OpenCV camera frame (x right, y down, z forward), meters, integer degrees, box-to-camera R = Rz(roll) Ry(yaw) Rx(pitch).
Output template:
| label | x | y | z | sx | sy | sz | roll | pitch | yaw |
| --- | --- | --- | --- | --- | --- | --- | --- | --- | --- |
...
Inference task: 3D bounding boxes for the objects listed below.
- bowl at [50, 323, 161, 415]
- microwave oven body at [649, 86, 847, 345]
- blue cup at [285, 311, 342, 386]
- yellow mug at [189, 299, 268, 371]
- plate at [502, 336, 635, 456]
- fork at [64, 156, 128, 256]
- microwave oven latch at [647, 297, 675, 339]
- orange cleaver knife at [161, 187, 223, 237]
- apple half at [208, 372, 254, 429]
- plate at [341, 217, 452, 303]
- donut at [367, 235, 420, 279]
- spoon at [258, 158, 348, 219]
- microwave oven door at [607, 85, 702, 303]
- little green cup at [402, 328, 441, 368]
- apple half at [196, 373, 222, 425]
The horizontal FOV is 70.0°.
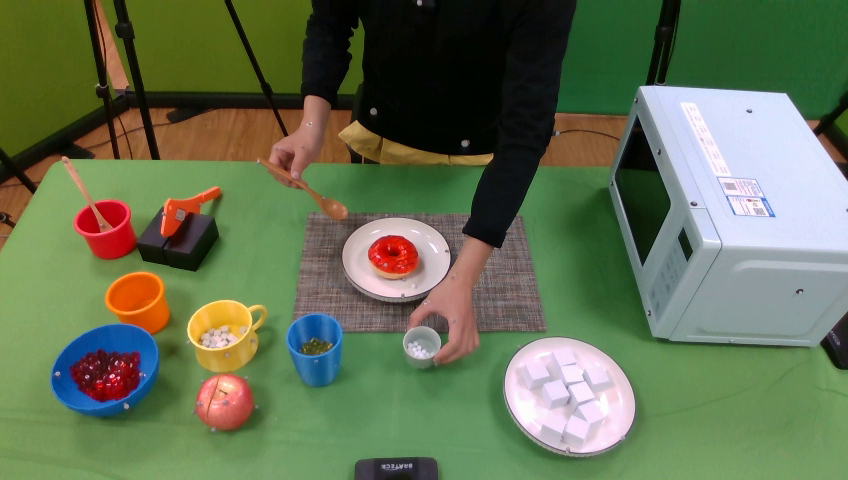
| label | x | y | z | sx | sy | sz | roll | pitch | yaw |
| --- | --- | --- | --- | --- | --- | --- | --- | --- | --- |
| bowl | -0.472 | 0.209 | 0.924 | 0.151 | 0.077 | 0.150 | 2 | 45 | -2 |
| microwave oven body | 0.568 | -0.053 | 1.118 | 0.326 | 0.261 | 0.439 | 2 | 45 | -1 |
| blue cup | -0.170 | 0.180 | 0.958 | 0.093 | 0.101 | 0.092 | 2 | 44 | -1 |
| yellow mug | -0.315 | 0.148 | 1.001 | 0.131 | 0.064 | 0.099 | -33 | 56 | -31 |
| plate | 0.225 | 0.248 | 0.963 | 0.208 | 0.039 | 0.206 | 2 | 46 | -2 |
| fork | -0.614 | -0.064 | 1.130 | 0.028 | 0.018 | 0.207 | -30 | 97 | -17 |
| microwave oven latch | 0.413 | 0.134 | 1.061 | 0.030 | 0.029 | 0.078 | 5 | 45 | 2 |
| orange cleaver knife | -0.448 | -0.058 | 1.180 | 0.012 | 0.077 | 0.211 | 13 | 17 | 6 |
| apple half | -0.282 | 0.244 | 0.908 | 0.053 | 0.075 | 0.080 | 7 | 43 | -1 |
| plate | -0.052 | 0.039 | 1.140 | 0.209 | 0.038 | 0.208 | 2 | 46 | -2 |
| donut | -0.057 | 0.032 | 1.131 | 0.099 | 0.048 | 0.098 | 3 | 46 | -3 |
| spoon | -0.221 | -0.097 | 1.116 | 0.195 | 0.021 | 0.041 | 37 | 51 | -29 |
| microwave oven door | 0.424 | -0.094 | 1.140 | 0.039 | 0.245 | 0.353 | 2 | 46 | -1 |
| little green cup | -0.004 | 0.175 | 0.972 | 0.061 | 0.039 | 0.061 | 0 | 62 | 1 |
| apple half | -0.322 | 0.239 | 0.907 | 0.033 | 0.081 | 0.081 | 6 | 46 | -1 |
